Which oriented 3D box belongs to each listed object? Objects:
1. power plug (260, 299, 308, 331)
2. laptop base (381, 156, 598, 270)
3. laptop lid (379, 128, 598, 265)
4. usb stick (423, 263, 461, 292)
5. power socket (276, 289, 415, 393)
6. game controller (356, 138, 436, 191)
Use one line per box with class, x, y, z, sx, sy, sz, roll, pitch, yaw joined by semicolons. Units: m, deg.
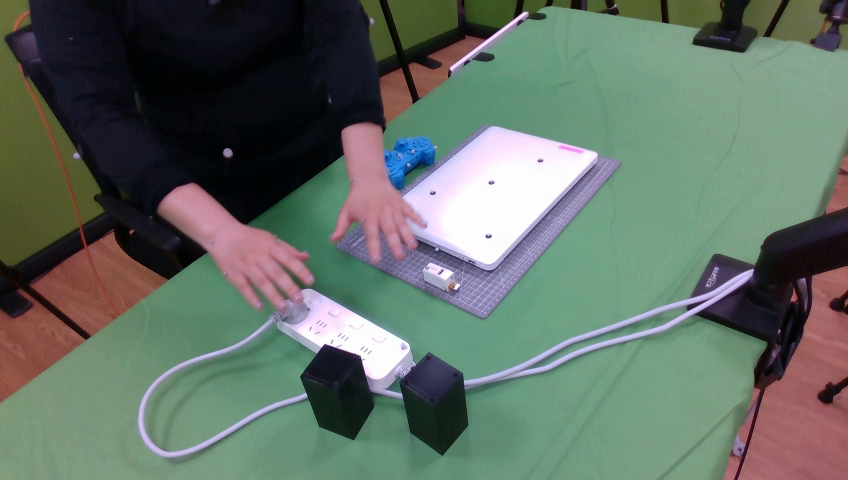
power plug;-0.194;0.109;0.830;0.073;0.053;0.035;-33;48;-23
laptop base;0.120;-0.085;1.054;0.233;0.023;0.355;21;47;34
laptop lid;0.117;-0.095;1.048;0.239;0.013;0.358;23;49;34
usb stick;0.028;0.057;0.889;0.059;0.027;0.021;25;50;29
power socket;-0.114;0.132;0.822;0.225;0.033;0.072;25;48;32
game controller;-0.048;-0.149;1.136;0.096;0.052;0.155;26;50;29
